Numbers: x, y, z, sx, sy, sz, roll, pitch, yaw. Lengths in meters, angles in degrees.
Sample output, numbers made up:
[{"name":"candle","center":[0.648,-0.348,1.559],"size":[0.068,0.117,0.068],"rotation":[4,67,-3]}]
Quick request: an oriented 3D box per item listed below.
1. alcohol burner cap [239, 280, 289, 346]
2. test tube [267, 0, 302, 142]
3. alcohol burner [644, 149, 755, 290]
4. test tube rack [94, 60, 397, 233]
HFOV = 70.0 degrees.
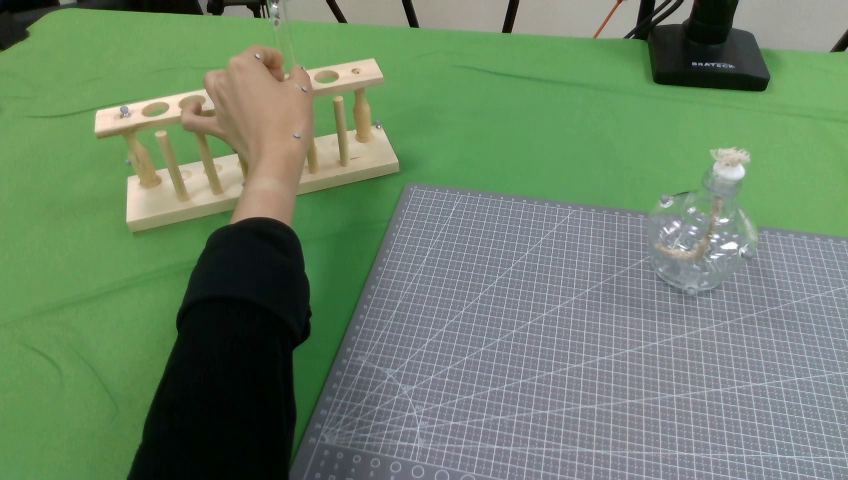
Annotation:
[{"name":"alcohol burner cap","center":[-0.119,0.050,0.441],"size":[0.034,0.048,0.033],"rotation":[-1,44,1]},{"name":"test tube","center":[-0.118,-0.148,0.523],"size":[0.017,0.151,0.017],"rotation":[1,45,-1]},{"name":"alcohol burner","center":[0.204,-0.019,0.440],"size":[0.078,0.120,0.077],"rotation":[0,47,1]},{"name":"test tube rack","center":[-0.151,-0.086,0.544],"size":[0.243,0.086,0.066],"rotation":[-14,47,-12]}]
